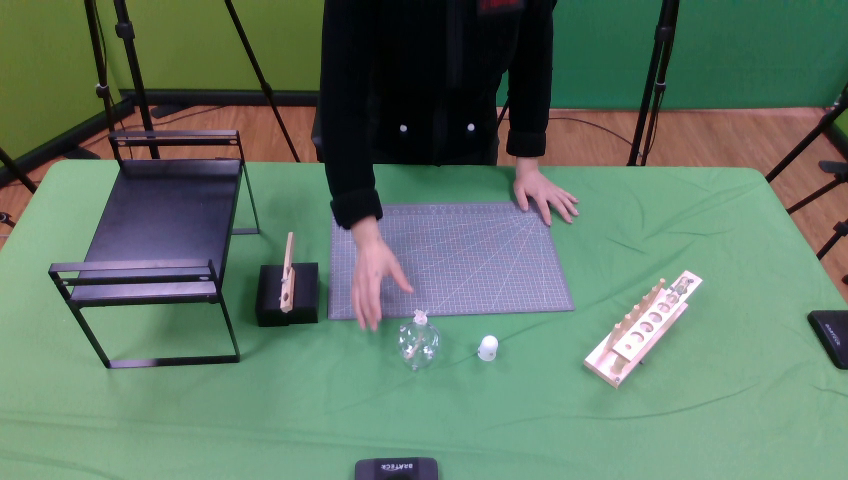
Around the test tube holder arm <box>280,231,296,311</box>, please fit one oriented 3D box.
[{"bbox_3d":[-0.238,0.050,1.066,0.013,0.015,0.177,-12,46,6],"label":"test tube holder arm"}]

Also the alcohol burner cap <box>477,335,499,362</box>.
[{"bbox_3d":[0.109,0.179,1.017,0.034,0.048,0.033,4,50,-4],"label":"alcohol burner cap"}]

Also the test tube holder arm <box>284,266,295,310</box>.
[{"bbox_3d":[-0.229,0.081,1.034,0.010,0.015,0.087,-12,46,6],"label":"test tube holder arm"}]

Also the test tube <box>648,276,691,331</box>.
[{"bbox_3d":[0.406,0.109,1.007,0.017,0.151,0.017,3,51,-4],"label":"test tube"}]

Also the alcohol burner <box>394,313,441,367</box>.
[{"bbox_3d":[-0.009,0.154,0.985,0.078,0.119,0.077,3,48,-3],"label":"alcohol burner"}]

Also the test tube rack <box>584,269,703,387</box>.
[{"bbox_3d":[0.381,0.139,1.046,0.066,0.085,0.242,37,54,27],"label":"test tube rack"}]
